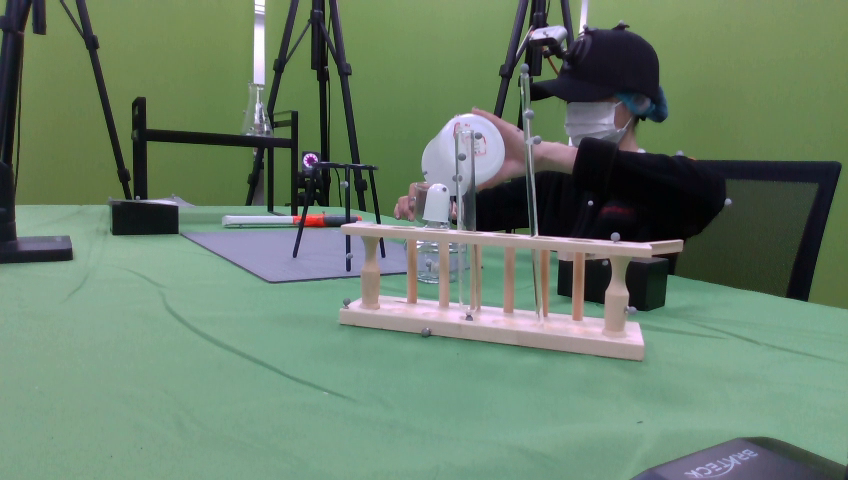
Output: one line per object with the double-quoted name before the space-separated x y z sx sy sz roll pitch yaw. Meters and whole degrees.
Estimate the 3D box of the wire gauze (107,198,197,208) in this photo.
"wire gauze" -0.462 -0.064 1.023 0.126 0.011 0.121 -2 7 -32

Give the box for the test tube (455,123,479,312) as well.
"test tube" 0.034 -0.016 0.476 0.017 0.150 0.017 -2 10 1

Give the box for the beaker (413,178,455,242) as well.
"beaker" 0.019 -0.051 1.060 0.074 0.100 0.083 -10 22 -36

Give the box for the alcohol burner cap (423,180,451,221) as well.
"alcohol burner cap" 0.017 -0.047 0.711 0.034 0.048 0.034 8 5 0

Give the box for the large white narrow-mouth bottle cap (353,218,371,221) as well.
"large white narrow-mouth bottle cap" -0.120 -0.029 1.184 0.038 0.024 0.037 2 8 0

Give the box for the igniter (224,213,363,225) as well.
"igniter" -0.255 -0.041 1.210 0.278 0.025 0.057 -2 -2 -31

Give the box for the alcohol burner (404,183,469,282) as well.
"alcohol burner" 0.015 -0.011 0.715 0.078 0.119 0.078 0 7 0

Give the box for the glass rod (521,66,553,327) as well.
"glass rod" 0.085 -0.028 0.454 0.008 0.199 0.008 -7 10 2

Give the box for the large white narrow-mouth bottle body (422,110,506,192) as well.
"large white narrow-mouth bottle body" 0.051 -0.127 0.941 0.102 0.101 0.194 0 -6 -14

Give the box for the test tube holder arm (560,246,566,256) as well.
"test tube holder arm" 0.173 0.007 0.611 0.088 0.015 0.010 -3 9 -30

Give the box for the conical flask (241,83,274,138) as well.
"conical flask" -0.384 -0.297 1.393 0.075 0.122 0.075 2 7 0

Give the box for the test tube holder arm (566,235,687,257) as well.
"test tube holder arm" 0.215 0.006 0.630 0.179 0.015 0.013 -3 9 -30

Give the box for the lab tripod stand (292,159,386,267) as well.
"lab tripod stand" -0.105 -0.039 0.798 0.148 0.131 0.148 2 5 0

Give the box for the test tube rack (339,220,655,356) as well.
"test tube rack" 0.056 0.032 0.495 0.242 0.085 0.067 4 7 15
